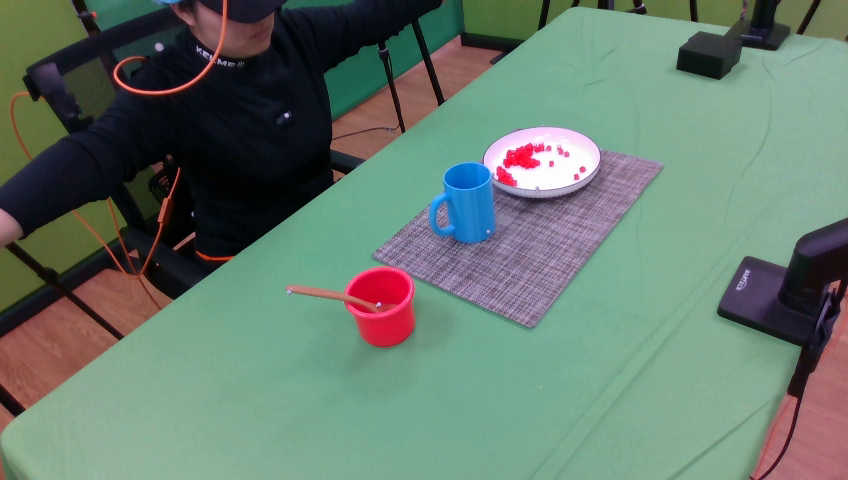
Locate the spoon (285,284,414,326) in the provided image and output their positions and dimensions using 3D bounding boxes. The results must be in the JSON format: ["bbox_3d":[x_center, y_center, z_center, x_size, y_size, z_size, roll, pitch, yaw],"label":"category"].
[{"bbox_3d":[-0.096,0.083,0.812,0.195,0.021,0.041,22,31,-34],"label":"spoon"}]

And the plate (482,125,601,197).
[{"bbox_3d":[0.210,-0.138,1.091,0.207,0.039,0.206,-5,40,5],"label":"plate"}]

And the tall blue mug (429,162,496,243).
[{"bbox_3d":[0.066,-0.051,0.960,0.077,0.108,0.107,17,47,27],"label":"tall blue mug"}]
